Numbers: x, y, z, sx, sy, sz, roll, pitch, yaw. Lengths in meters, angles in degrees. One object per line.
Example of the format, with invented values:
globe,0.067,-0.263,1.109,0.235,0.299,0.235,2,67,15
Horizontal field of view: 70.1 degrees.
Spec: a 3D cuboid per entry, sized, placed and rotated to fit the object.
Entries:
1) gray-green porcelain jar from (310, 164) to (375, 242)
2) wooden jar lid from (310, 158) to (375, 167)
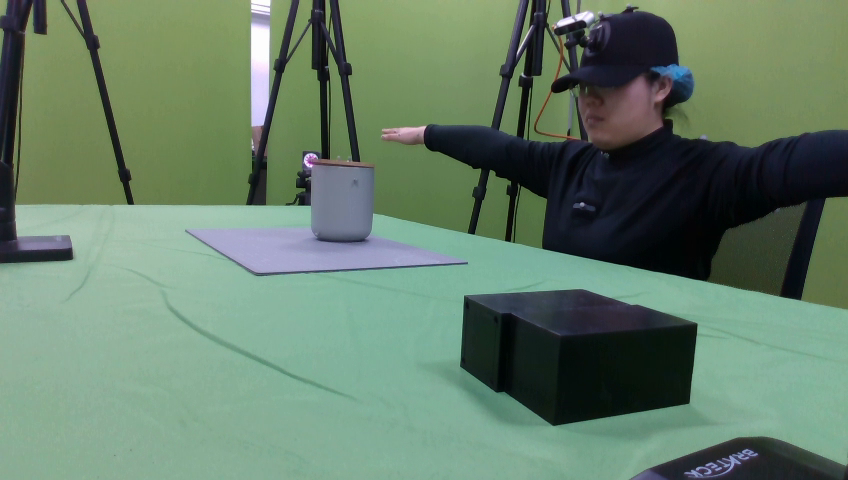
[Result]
gray-green porcelain jar,-0.139,-0.064,1.025,0.106,0.126,0.106,3,8,0
wooden jar lid,-0.137,-0.125,1.017,0.108,0.020,0.108,4,8,0
